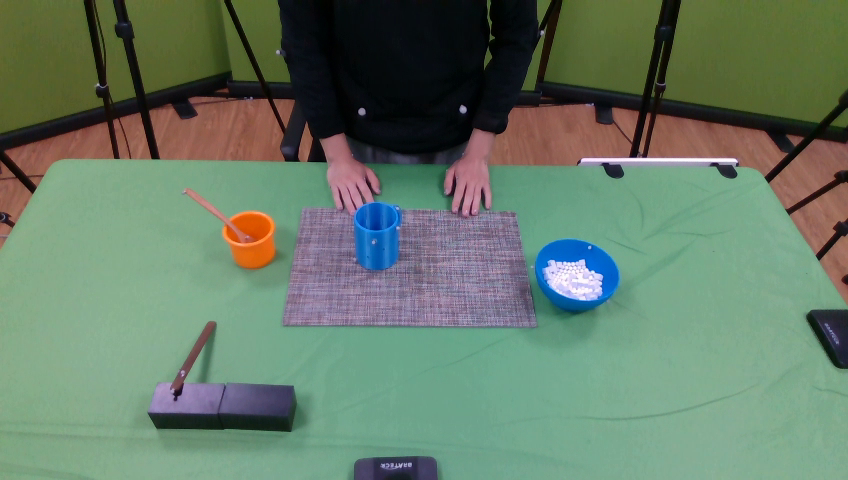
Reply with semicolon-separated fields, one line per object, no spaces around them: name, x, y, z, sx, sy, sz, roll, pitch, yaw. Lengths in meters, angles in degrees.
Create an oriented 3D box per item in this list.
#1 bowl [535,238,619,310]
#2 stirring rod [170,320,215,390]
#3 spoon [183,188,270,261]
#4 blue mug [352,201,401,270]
bowl;0.270;0.076;1.107;0.151;0.077;0.150;2;46;-2
stirring rod;-0.368;0.180;0.969;0.014;0.006;0.175;0;27;0
spoon;-0.360;-0.029;1.110;0.021;0.194;0.041;-21;31;41
blue mug;-0.082;-0.017;1.144;0.082;0.106;0.116;30;51;22
